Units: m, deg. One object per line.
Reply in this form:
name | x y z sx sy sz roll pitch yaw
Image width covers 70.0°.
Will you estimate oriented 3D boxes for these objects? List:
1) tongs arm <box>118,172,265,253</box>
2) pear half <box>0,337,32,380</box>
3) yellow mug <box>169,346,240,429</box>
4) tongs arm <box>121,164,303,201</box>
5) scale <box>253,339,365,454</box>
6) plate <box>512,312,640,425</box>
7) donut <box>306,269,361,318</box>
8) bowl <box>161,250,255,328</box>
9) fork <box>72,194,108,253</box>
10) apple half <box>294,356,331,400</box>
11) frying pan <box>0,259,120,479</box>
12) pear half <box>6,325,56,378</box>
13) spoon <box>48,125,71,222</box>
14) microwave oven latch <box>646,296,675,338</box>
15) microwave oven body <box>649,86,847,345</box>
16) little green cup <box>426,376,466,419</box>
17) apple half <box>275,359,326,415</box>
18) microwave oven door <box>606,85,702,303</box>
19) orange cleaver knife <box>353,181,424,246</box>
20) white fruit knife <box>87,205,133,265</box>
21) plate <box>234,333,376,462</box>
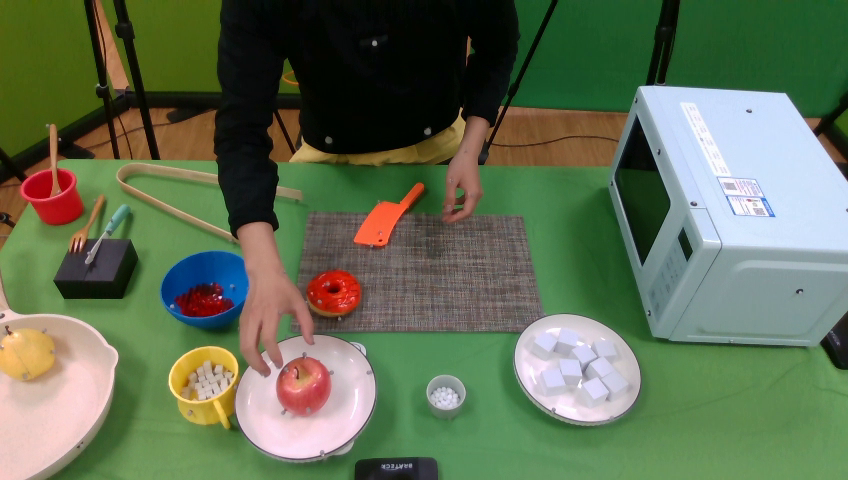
tongs arm | -0.473 -0.055 1.211 0.386 0.028 0.028 23 56 18
pear half | -0.631 0.184 0.921 0.070 0.088 0.031 29 49 19
yellow mug | -0.323 0.231 0.922 0.100 0.064 0.130 -24 53 -26
tongs arm | -0.444 -0.114 1.267 0.384 0.026 0.050 12 50 8
scale | -0.175 0.236 0.951 0.149 0.032 0.199 4 46 0
plate | 0.246 0.213 0.999 0.208 0.039 0.206 2 46 -2
donut | -0.160 0.094 1.074 0.099 0.048 0.098 3 46 -3
bowl | -0.362 0.098 1.040 0.151 0.077 0.150 2 45 -2
fork | -0.634 -0.036 1.158 0.028 0.019 0.206 -7 32 -9
apple half | -0.159 0.201 0.902 0.081 0.082 0.033 36 58 27
frying pan | -0.647 0.164 0.936 0.307 0.103 0.485 -19 58 -22
pear half | -0.608 0.158 0.935 0.076 0.110 0.056 31 51 20
spoon | -0.718 -0.131 1.188 0.041 0.021 0.193 -3 90 -7
microwave oven latch | 0.412 0.134 1.061 0.030 0.029 0.078 4 45 1
microwave oven body | 0.568 -0.053 1.118 0.326 0.261 0.439 2 45 -1
little green cup | 0.033 0.248 0.950 0.061 0.039 0.061 2 46 -2
apple half | -0.186 0.222 0.882 0.080 0.075 0.053 38 57 25
microwave oven door | 0.423 -0.094 1.140 0.039 0.245 0.353 2 46 -1
orange cleaver knife | -0.069 -0.059 1.245 0.077 0.012 0.210 18 50 21
white fruit knife | -0.584 -0.013 1.129 0.016 0.027 0.206 0 31 -5
plate | -0.174 0.235 0.907 0.209 0.038 0.208 2 46 -1
